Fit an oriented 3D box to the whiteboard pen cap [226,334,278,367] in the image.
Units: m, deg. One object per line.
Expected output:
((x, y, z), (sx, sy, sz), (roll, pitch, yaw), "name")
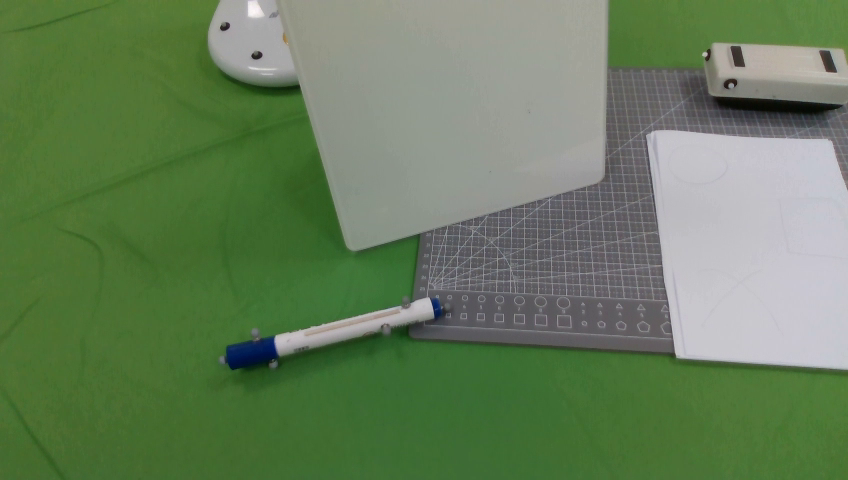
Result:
((-0.114, 0.073, 0.407), (0.033, 0.018, 0.018), (-13, 54, -10), "whiteboard pen cap")

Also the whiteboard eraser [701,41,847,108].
((0.304, -0.144, 0.529), (0.112, 0.042, 0.055), (6, 55, 8), "whiteboard eraser")

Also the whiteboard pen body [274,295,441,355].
((-0.057, 0.061, 0.416), (0.141, 0.017, 0.017), (-13, 54, -8), "whiteboard pen body")

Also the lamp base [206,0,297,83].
((-0.154, -0.268, 0.564), (0.160, 0.182, 0.177), (-38, 58, -22), "lamp base")

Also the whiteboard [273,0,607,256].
((0.004, -0.176, 0.446), (0.217, 0.308, 0.142), (-16, 35, -7), "whiteboard")
